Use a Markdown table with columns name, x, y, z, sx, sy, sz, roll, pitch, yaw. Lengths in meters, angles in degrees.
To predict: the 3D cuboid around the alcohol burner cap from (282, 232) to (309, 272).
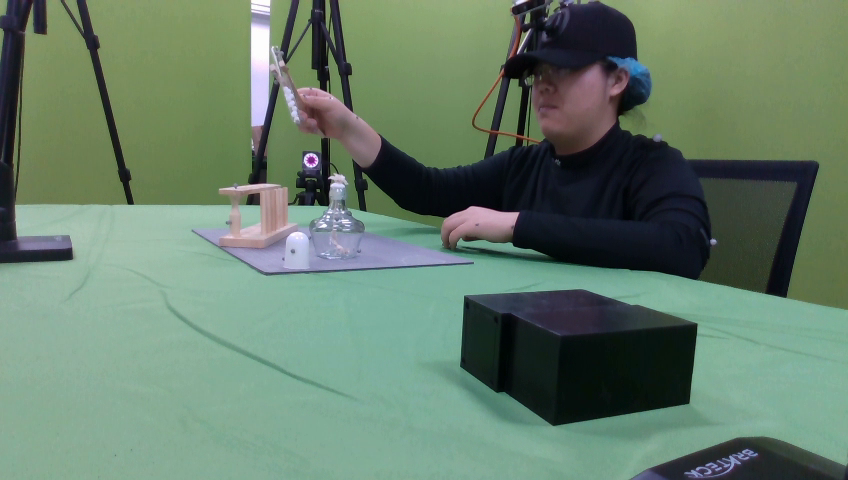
| name | x | y | z | sx | sy | sz | roll | pitch | yaw |
| --- | --- | --- | --- | --- | --- | --- | --- | --- | --- |
| alcohol burner cap | -0.157 | 0.014 | 0.740 | 0.034 | 0.048 | 0.034 | 3 | 6 | 0 |

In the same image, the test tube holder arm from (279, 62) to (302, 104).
| name | x | y | z | sx | sy | sz | roll | pitch | yaw |
| --- | --- | --- | --- | --- | --- | --- | --- | --- | --- |
| test tube holder arm | -0.216 | -0.253 | 0.984 | 0.010 | 0.015 | 0.088 | -16 | -31 | 0 |

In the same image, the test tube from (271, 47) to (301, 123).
| name | x | y | z | sx | sy | sz | roll | pitch | yaw |
| --- | --- | --- | --- | --- | --- | --- | --- | --- | --- |
| test tube | -0.220 | -0.247 | 0.958 | 0.017 | 0.149 | 0.017 | -17 | -23 | -7 |

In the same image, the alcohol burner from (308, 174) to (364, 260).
| name | x | y | z | sx | sy | sz | roll | pitch | yaw |
| --- | --- | --- | --- | --- | --- | --- | --- | --- | --- |
| alcohol burner | -0.121 | -0.033 | 0.841 | 0.078 | 0.119 | 0.078 | 3 | 5 | 0 |

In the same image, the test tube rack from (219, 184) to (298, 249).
| name | x | y | z | sx | sy | sz | roll | pitch | yaw |
| --- | --- | --- | --- | --- | --- | --- | --- | --- | --- |
| test tube rack | -0.266 | -0.046 | 1.001 | 0.067 | 0.085 | 0.242 | 3 | 7 | 0 |

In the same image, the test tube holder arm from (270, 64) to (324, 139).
| name | x | y | z | sx | sy | sz | roll | pitch | yaw |
| --- | --- | --- | --- | --- | --- | --- | --- | --- | --- |
| test tube holder arm | -0.211 | -0.230 | 1.023 | 0.013 | 0.015 | 0.179 | -19 | -31 | 7 |
